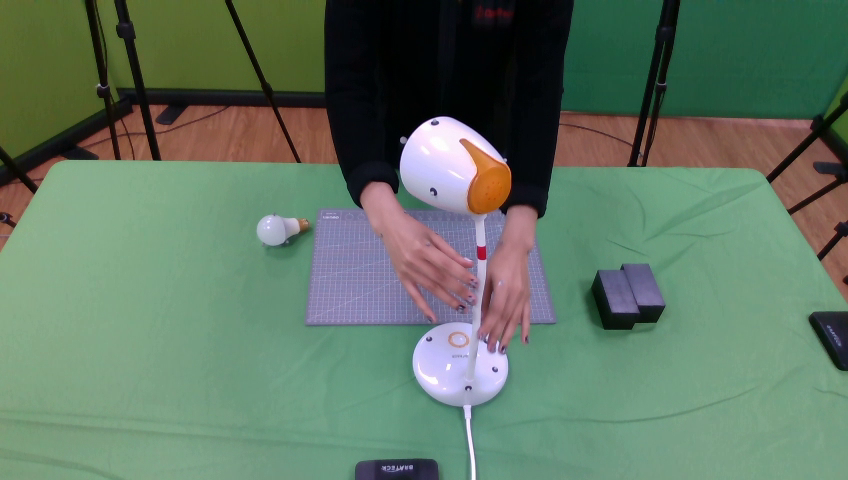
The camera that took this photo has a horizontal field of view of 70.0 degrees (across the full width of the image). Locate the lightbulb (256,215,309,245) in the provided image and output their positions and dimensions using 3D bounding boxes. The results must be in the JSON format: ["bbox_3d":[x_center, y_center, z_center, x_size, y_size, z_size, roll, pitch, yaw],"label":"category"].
[{"bbox_3d":[-0.274,-0.024,1.183,0.108,0.060,0.059,-13,46,-37],"label":"lightbulb"}]

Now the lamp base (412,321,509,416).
[{"bbox_3d":[0.067,0.159,0.942,0.161,0.181,0.178,-6,50,-10],"label":"lamp base"}]

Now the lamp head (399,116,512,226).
[{"bbox_3d":[0.047,-0.076,0.728,0.112,0.113,0.122,-25,43,-25],"label":"lamp head"}]
